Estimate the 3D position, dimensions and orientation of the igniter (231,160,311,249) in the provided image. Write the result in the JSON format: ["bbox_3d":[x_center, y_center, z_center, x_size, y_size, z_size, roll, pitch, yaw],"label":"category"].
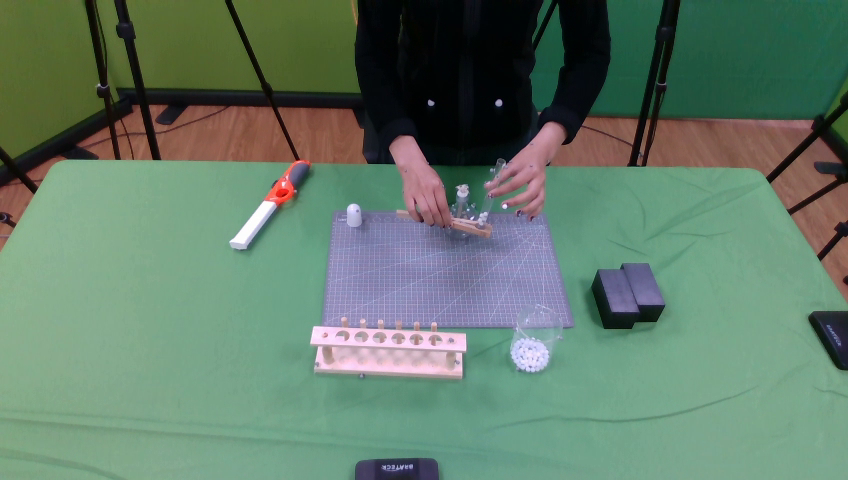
[{"bbox_3d":[-0.311,-0.081,1.250,0.057,0.025,0.275,9,45,18],"label":"igniter"}]

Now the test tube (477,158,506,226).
[{"bbox_3d":[0.115,-0.080,1.052,0.017,0.151,0.017,7,45,-7],"label":"test tube"}]

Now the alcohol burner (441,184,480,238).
[{"bbox_3d":[0.073,-0.061,1.195,0.078,0.120,0.077,1,47,-1],"label":"alcohol burner"}]

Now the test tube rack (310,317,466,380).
[{"bbox_3d":[-0.056,0.171,0.986,0.242,0.085,0.066,3,45,-1],"label":"test tube rack"}]

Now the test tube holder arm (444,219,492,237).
[{"bbox_3d":[0.079,-0.025,1.104,0.088,0.015,0.010,17,46,9],"label":"test tube holder arm"}]

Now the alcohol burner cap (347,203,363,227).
[{"bbox_3d":[-0.141,-0.053,1.222,0.034,0.048,0.033,2,47,-2],"label":"alcohol burner cap"}]

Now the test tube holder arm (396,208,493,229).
[{"bbox_3d":[0.037,-0.038,1.112,0.178,0.015,0.013,10,44,3],"label":"test tube holder arm"}]

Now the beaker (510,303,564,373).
[{"bbox_3d":[0.182,0.164,1.000,0.074,0.101,0.083,2,45,-1],"label":"beaker"}]
